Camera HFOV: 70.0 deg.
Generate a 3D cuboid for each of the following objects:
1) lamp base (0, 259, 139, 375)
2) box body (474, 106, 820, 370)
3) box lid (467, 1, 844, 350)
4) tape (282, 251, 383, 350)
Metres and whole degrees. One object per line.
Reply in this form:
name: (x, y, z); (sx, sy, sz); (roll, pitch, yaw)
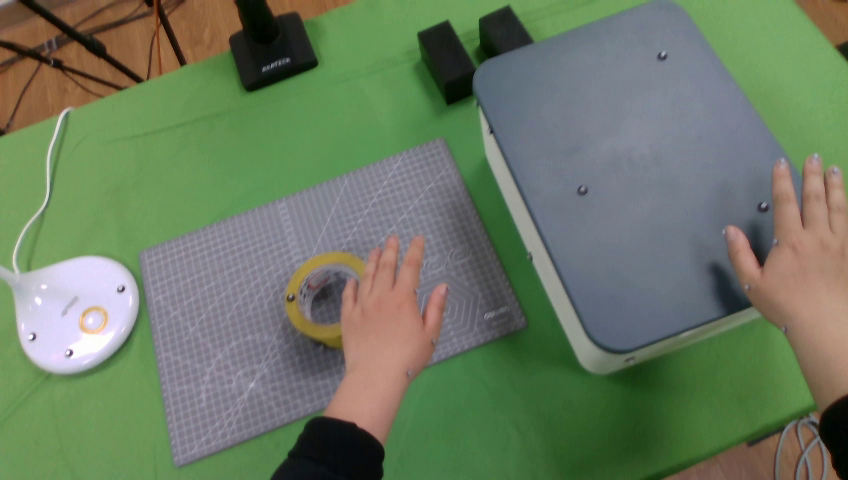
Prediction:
lamp base: (-0.476, 0.064, 0.733); (0.178, 0.182, 0.160); (14, 68, 16)
box body: (0.232, -0.058, 0.704); (0.254, 0.162, 0.360); (-21, 65, -2)
box lid: (0.222, -0.091, 0.639); (0.263, 0.015, 0.368); (-21, 65, -2)
tape: (-0.113, 0.074, 0.749); (0.117, 0.053, 0.116); (-2, 65, 6)
